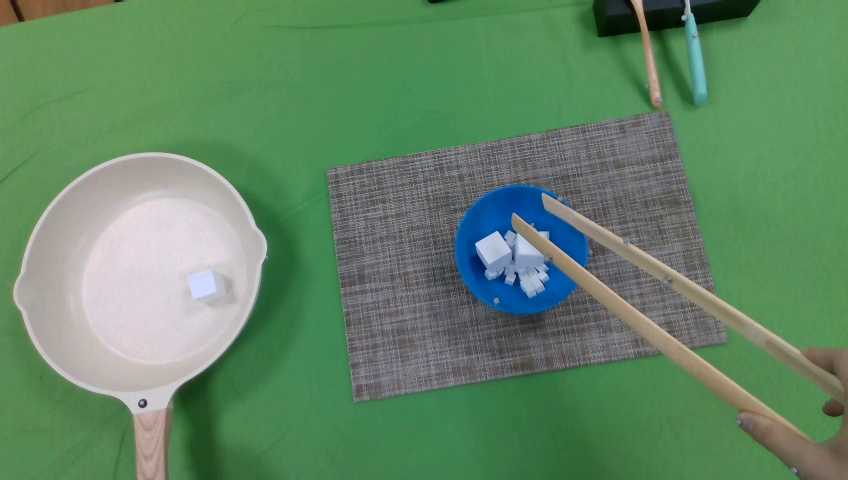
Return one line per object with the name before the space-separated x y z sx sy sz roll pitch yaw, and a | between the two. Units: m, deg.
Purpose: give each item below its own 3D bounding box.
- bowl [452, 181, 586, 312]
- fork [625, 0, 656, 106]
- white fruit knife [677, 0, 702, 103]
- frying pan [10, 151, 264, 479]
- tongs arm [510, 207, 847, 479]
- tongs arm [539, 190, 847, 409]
bowl | 0.108 0.014 0.715 0.151 0.077 0.150 -1 78 3
fork | 0.268 -0.272 0.766 0.028 0.018 0.208 -16 98 -4
white fruit knife | 0.327 -0.279 0.763 0.016 0.027 0.207 -11 94 7
frying pan | -0.320 0.134 0.705 0.307 0.103 0.484 -11 69 2
tongs arm | 0.197 0.068 0.517 0.028 0.028 0.383 -28 44 -19
tongs arm | 0.220 0.054 0.524 0.051 0.027 0.380 -33 45 -19
